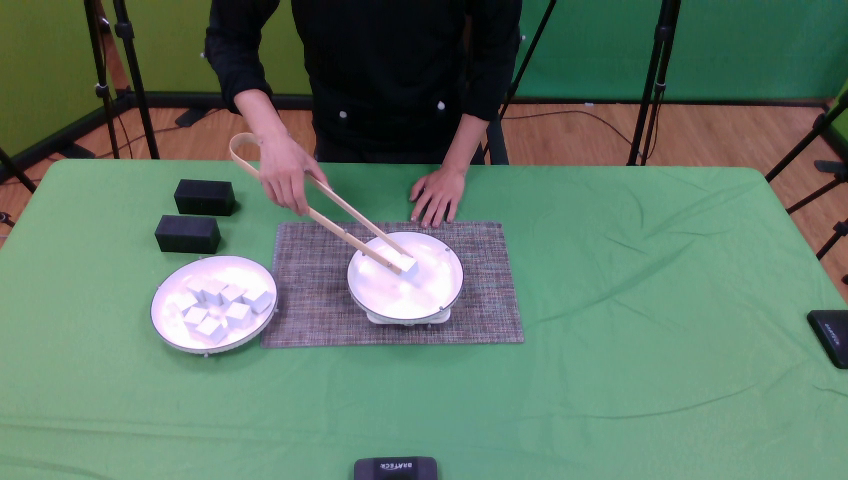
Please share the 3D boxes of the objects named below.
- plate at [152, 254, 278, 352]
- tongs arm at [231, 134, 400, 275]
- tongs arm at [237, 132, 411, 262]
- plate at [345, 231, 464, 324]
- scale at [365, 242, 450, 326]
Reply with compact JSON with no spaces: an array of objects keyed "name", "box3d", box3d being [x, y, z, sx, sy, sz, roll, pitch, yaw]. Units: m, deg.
[{"name":"plate","box3d":[-0.357,0.111,1.052,0.208,0.039,0.206,2,46,-2]},{"name":"tongs arm","box3d":[-0.191,-0.064,1.061,0.384,0.026,0.050,33,64,7]},{"name":"tongs arm","box3d":[-0.177,-0.080,1.071,0.387,0.028,0.028,37,68,9]},{"name":"plate","box3d":[-0.034,0.069,1.069,0.209,0.038,0.208,2,46,-2]},{"name":"scale","box3d":[-0.032,0.071,1.113,0.149,0.032,0.199,0,46,-4]}]
